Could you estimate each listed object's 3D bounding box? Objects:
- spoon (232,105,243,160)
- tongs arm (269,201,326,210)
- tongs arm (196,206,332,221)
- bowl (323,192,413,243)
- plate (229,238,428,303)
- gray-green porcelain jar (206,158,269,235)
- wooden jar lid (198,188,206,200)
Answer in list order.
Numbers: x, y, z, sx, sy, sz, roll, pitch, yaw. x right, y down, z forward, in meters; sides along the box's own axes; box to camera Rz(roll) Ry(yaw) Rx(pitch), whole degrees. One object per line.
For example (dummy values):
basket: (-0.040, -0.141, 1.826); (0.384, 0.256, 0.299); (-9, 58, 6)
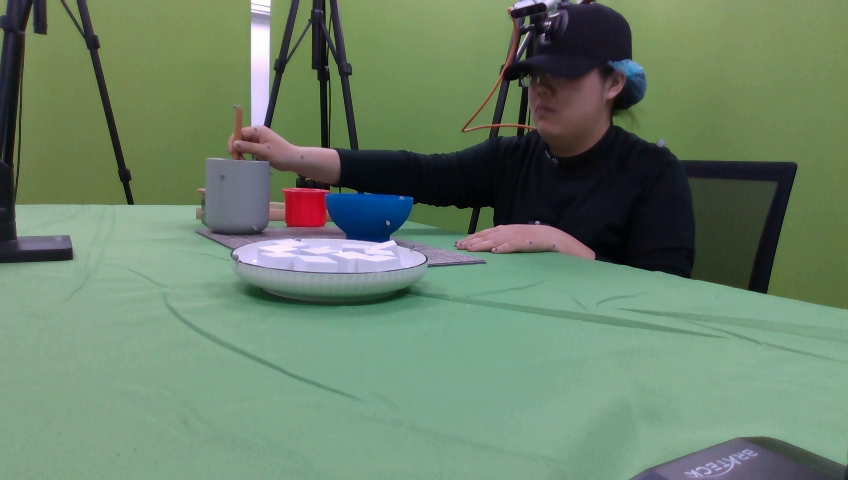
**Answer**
spoon: (-0.334, -0.139, 1.059); (0.021, 0.193, 0.042); (21, 12, 41)
tongs arm: (-0.308, -0.073, 1.410); (0.386, 0.026, 0.050); (3, 8, -6)
tongs arm: (-0.294, -0.057, 1.330); (0.389, 0.028, 0.028); (0, 5, -20)
bowl: (-0.094, -0.037, 1.015); (0.151, 0.077, 0.151); (3, 7, 0)
plate: (-0.099, 0.032, 0.651); (0.209, 0.038, 0.209); (3, 8, 0)
gray-green porcelain jar: (-0.323, -0.076, 1.048); (0.106, 0.126, 0.106); (3, 7, 0)
wooden jar lid: (-0.382, -0.088, 1.175); (0.108, 0.020, 0.108); (3, 8, 0)
